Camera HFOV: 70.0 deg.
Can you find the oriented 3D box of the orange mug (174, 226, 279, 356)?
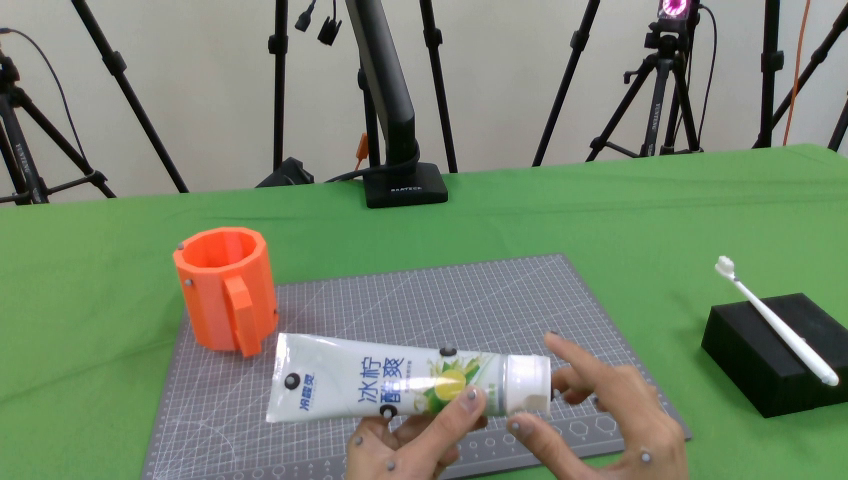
[{"bbox_3d":[-0.190,0.054,0.604,0.084,0.101,0.125,-17,31,-24],"label":"orange mug"}]

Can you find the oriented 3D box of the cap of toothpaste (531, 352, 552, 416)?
[{"bbox_3d":[0.067,0.082,0.347,0.011,0.037,0.037,-1,31,8],"label":"cap of toothpaste"}]

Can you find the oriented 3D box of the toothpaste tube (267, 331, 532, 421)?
[{"bbox_3d":[-0.011,0.081,0.359,0.165,0.035,0.054,-1,63,7],"label":"toothpaste tube"}]

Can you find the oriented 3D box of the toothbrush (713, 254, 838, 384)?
[{"bbox_3d":[0.321,0.066,0.563,0.014,0.017,0.180,-1,31,-8],"label":"toothbrush"}]
